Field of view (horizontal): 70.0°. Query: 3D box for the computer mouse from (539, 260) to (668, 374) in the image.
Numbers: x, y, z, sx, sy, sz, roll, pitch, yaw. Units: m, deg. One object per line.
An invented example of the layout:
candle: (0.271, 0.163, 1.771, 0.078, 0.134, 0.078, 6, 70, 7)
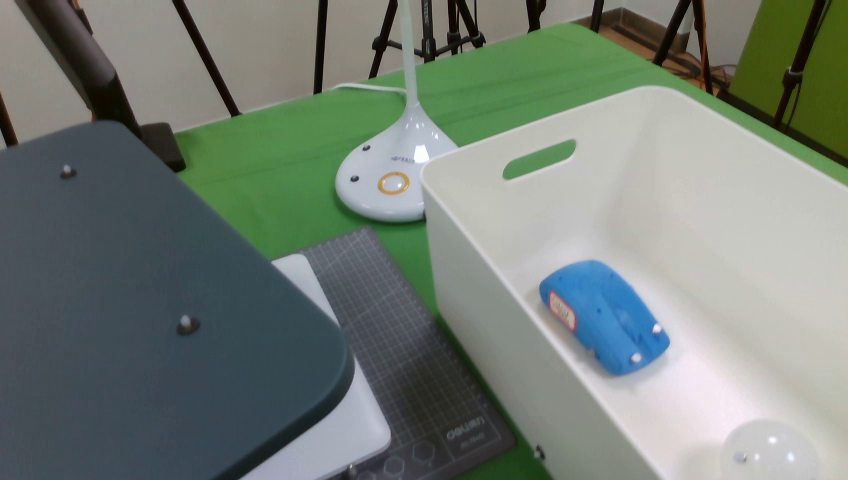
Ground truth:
computer mouse: (0.155, 0.061, 0.527, 0.063, 0.041, 0.116, -20, 48, -20)

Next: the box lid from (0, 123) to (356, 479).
box lid: (-0.235, 0.036, 0.320, 0.263, 0.015, 0.367, -30, 44, -29)

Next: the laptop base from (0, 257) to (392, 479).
laptop base: (-0.228, 0.145, 0.486, 0.355, 0.023, 0.233, -20, 47, -18)

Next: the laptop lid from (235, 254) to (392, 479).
laptop lid: (-0.228, 0.138, 0.476, 0.357, 0.013, 0.239, -19, 46, -16)

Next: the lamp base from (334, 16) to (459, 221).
lamp base: (-0.029, -0.141, 0.672, 0.160, 0.182, 0.177, 3, 40, 8)

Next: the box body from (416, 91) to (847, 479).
box body: (0.183, 0.061, 0.441, 0.254, 0.162, 0.360, -21, 44, -18)

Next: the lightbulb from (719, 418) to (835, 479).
lightbulb: (0.248, 0.163, 0.397, 0.107, 0.060, 0.059, 37, 54, 15)
